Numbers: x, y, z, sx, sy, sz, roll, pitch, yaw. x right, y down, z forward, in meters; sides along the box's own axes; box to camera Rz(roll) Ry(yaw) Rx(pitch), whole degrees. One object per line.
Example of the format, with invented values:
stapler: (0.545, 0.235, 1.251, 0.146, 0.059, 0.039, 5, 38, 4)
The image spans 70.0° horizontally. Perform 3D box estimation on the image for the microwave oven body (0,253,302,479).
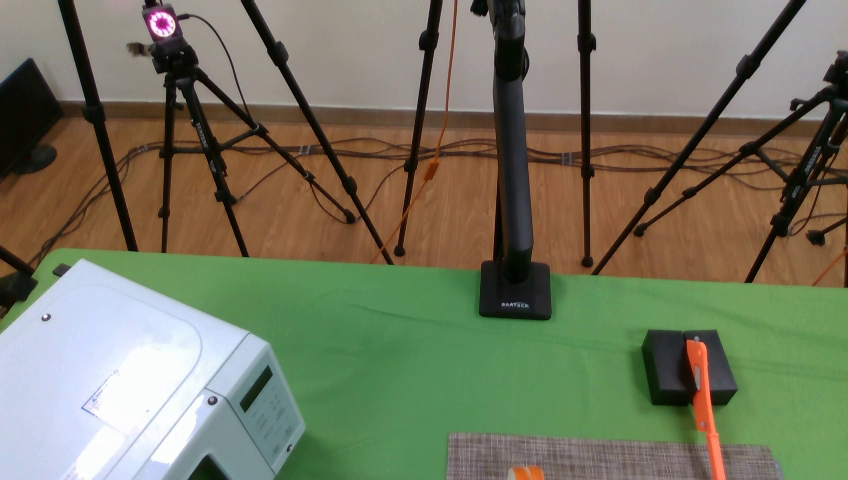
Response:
microwave oven body: (-0.412, 0.287, 0.717, 0.324, 0.262, 0.439, 20, 54, 18)

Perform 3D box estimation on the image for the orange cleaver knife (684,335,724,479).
orange cleaver knife: (0.388, 0.232, 0.847, 0.012, 0.077, 0.210, -2, 71, 4)

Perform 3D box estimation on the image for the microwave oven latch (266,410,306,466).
microwave oven latch: (-0.197, 0.273, 0.847, 0.030, 0.030, 0.079, 21, 55, 18)

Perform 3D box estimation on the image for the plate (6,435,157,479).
plate: (-0.429, 0.345, 0.740, 0.208, 0.039, 0.205, 1, 49, -1)

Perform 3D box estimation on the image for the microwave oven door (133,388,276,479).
microwave oven door: (-0.300, 0.358, 0.646, 0.039, 0.246, 0.354, 19, 53, 18)
